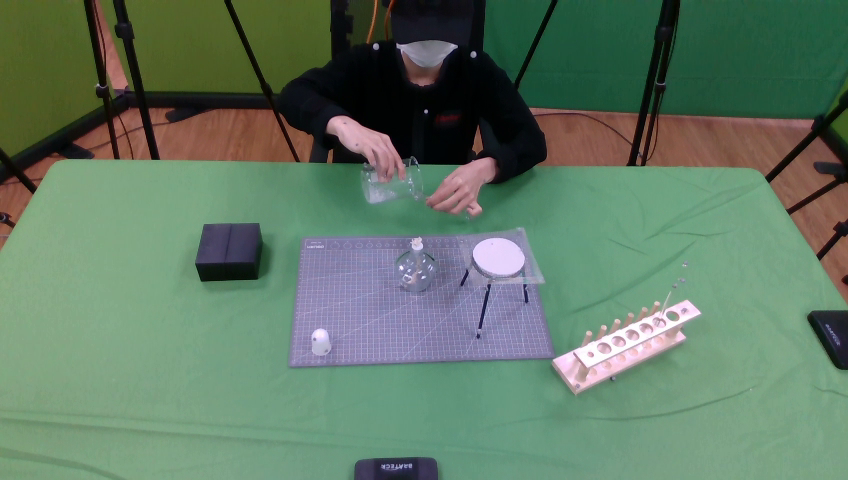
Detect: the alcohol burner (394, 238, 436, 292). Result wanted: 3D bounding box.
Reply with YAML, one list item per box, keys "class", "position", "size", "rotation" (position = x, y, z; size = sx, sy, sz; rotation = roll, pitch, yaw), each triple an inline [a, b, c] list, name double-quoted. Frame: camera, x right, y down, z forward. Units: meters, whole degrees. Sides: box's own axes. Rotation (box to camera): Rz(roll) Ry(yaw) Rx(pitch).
- class: "alcohol burner"
  position: [-0.016, 0.038, 1.093]
  size: [0.078, 0.119, 0.077]
  rotation: [2, 48, -2]

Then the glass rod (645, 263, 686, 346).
- class: "glass rod"
  position: [0.391, 0.110, 0.986]
  size: [0.008, 0.201, 0.008]
  rotation: [2, 42, -1]

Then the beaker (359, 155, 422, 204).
- class: "beaker"
  position: [-0.062, -0.106, 1.105]
  size: [0.100, 0.084, 0.073]
  rotation: [-13, 43, -14]

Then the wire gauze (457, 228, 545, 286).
- class: "wire gauze"
  position: [0.126, 0.029, 1.006]
  size: [0.125, 0.011, 0.120]
  rotation: [-4, 46, -10]

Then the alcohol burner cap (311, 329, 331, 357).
- class: "alcohol burner cap"
  position: [-0.173, 0.168, 1.004]
  size: [0.034, 0.048, 0.033]
  rotation: [2, 46, -2]

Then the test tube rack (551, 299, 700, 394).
- class: "test tube rack"
  position: [0.339, 0.166, 1.021]
  size: [0.242, 0.085, 0.066]
  rotation: [-19, 50, -21]

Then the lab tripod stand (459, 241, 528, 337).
- class: "lab tripod stand"
  position: [0.122, 0.075, 1.054]
  size: [0.148, 0.132, 0.147]
  rotation: [3, 44, -3]

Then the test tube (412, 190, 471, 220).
- class: "test tube"
  position: [0.036, -0.067, 1.186]
  size: [0.151, 0.017, 0.017]
  rotation: [21, 34, -37]
